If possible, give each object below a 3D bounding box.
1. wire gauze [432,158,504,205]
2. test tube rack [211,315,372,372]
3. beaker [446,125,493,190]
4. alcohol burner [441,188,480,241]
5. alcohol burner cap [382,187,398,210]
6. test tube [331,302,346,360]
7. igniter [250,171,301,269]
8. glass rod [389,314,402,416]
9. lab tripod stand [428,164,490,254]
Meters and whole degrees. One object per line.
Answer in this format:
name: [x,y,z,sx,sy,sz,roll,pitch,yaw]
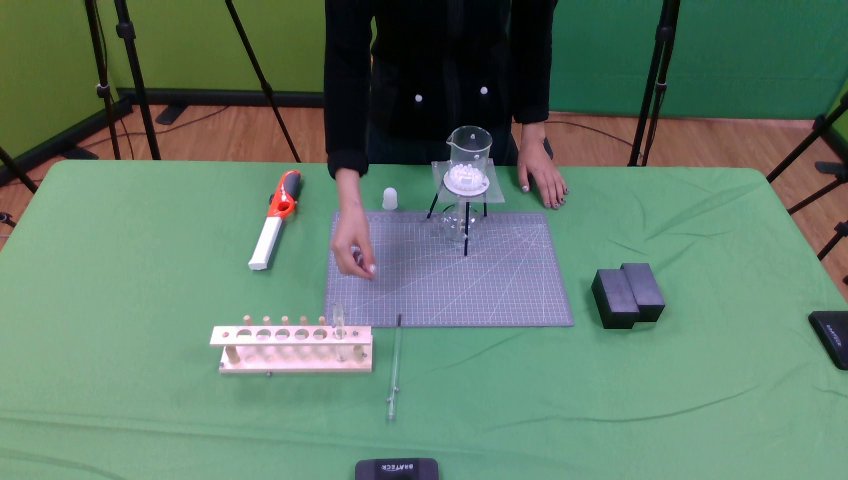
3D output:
wire gauze: [0.081,-0.111,1.138,0.125,0.011,0.120,0,48,-7]
test tube rack: [-0.208,0.163,0.982,0.242,0.085,0.066,1,46,-4]
beaker: [0.079,-0.148,1.106,0.084,0.101,0.073,-3,47,-7]
alcohol burner: [0.073,-0.055,1.189,0.078,0.120,0.077,1,48,-1]
alcohol burner cap: [-0.072,-0.090,1.267,0.034,0.048,0.033,3,48,-3]
test tube: [-0.132,0.144,0.938,0.017,0.151,0.017,2,49,-3]
igniter: [-0.297,-0.049,1.220,0.057,0.025,0.275,-2,45,8]
glass rod: [-0.048,0.203,1.008,0.008,0.008,0.198,4,45,0]
lab tripod stand: [0.078,-0.068,1.188,0.148,0.132,0.147,3,47,-3]
